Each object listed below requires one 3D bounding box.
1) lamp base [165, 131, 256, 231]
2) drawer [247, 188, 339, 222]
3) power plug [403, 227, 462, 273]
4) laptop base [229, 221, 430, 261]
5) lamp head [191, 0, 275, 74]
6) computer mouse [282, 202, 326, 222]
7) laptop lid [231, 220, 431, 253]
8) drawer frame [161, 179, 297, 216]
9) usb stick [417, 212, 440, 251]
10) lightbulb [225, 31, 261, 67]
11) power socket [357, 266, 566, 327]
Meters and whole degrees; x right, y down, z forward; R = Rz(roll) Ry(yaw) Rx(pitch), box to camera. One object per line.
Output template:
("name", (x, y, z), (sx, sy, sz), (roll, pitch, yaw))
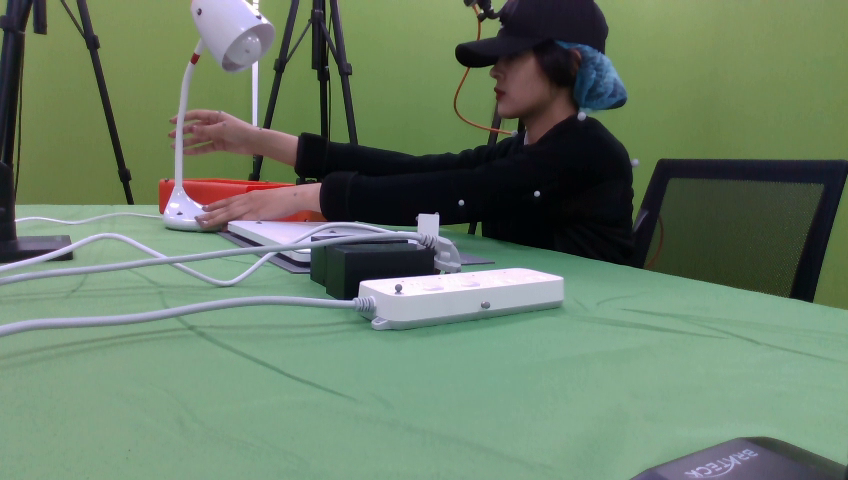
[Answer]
("lamp base", (-0.407, -0.112, 1.118), (0.179, 0.180, 0.161), (-1, 8, 7))
("drawer", (-0.315, -0.078, 1.301), (0.211, 0.073, 0.195), (4, 8, 15))
("power plug", (0.006, 0.016, 0.647), (0.073, 0.052, 0.035), (18, 12, -6))
("laptop base", (-0.145, 0.001, 0.943), (0.237, 0.023, 0.352), (2, 6, -32))
("lamp head", (-0.329, -0.354, 1.006), (0.123, 0.112, 0.112), (44, 15, 6))
("computer mouse", (-0.254, -0.061, 1.293), (0.063, 0.041, 0.117), (3, 4, 10))
("laptop lid", (-0.143, -0.009, 0.942), (0.243, 0.013, 0.355), (1, 7, -31))
("drawer frame", (-0.421, -0.089, 1.330), (0.213, 0.082, 0.202), (4, 8, 16))
("usb stick", (0.005, -0.003, 0.721), (0.027, 0.059, 0.021), (0, -3, -3))
("lightbulb", (-0.317, -0.333, 0.998), (0.107, 0.059, 0.059), (47, 14, 4))
("power socket", (0.041, 0.049, 0.573), (0.228, 0.032, 0.072), (-3, 8, -34))
